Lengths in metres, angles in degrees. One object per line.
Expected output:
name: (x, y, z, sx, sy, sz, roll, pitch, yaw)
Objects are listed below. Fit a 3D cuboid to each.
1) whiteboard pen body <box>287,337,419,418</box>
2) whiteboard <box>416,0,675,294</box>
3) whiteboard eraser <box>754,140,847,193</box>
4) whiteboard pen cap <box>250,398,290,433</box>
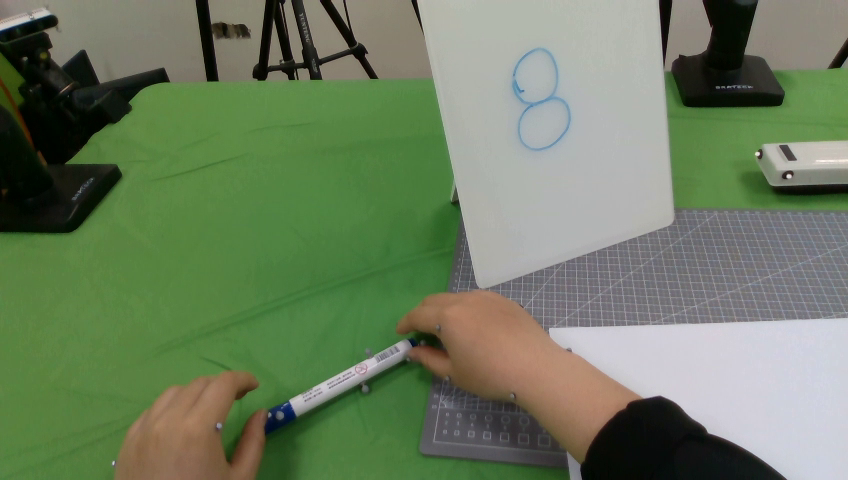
whiteboard pen body: (-0.067, 0.116, 0.495, 0.141, 0.017, 0.017, -25, 44, -22)
whiteboard: (0.101, -0.140, 0.593, 0.217, 0.307, 0.142, -18, 22, -11)
whiteboard eraser: (0.411, -0.076, 0.630, 0.112, 0.042, 0.055, 0, 44, 7)
whiteboard pen cap: (-0.118, 0.136, 0.475, 0.033, 0.018, 0.018, -24, 44, -20)
